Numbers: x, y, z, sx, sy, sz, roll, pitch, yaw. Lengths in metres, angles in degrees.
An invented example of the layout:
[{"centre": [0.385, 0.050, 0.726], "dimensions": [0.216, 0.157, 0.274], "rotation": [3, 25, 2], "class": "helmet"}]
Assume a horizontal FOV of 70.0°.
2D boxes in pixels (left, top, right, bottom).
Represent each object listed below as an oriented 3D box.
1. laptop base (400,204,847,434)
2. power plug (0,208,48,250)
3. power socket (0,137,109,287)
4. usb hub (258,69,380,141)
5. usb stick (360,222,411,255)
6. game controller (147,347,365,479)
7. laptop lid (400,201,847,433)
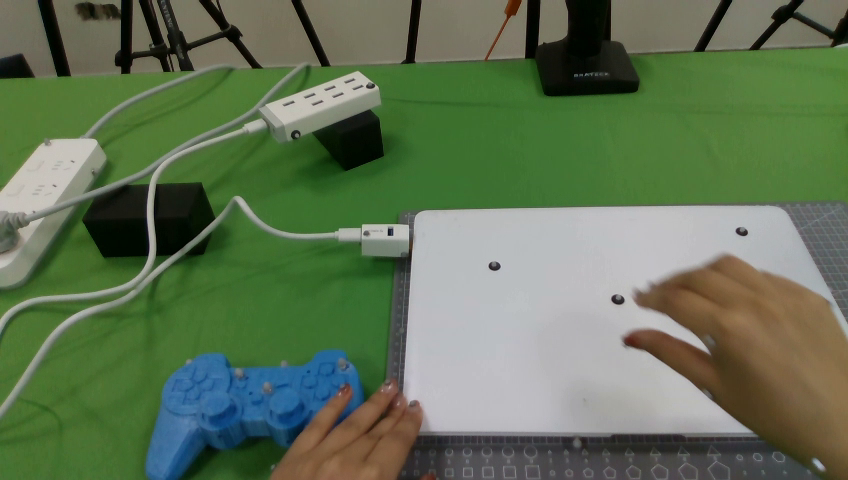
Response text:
[{"centre": [0.162, 0.057, 0.514], "dimensions": [0.354, 0.023, 0.233], "rotation": [-1, 48, 3], "class": "laptop base"}, {"centre": [-0.383, -0.002, 0.563], "dimensions": [0.072, 0.053, 0.035], "rotation": [10, 45, 10], "class": "power plug"}, {"centre": [-0.407, -0.037, 0.634], "dimensions": [0.072, 0.033, 0.224], "rotation": [1, 44, 4], "class": "power socket"}, {"centre": [-0.113, -0.149, 0.665], "dimensions": [0.125, 0.025, 0.049], "rotation": [-28, 51, -22], "class": "usb hub"}, {"centre": [-0.030, -0.002, 0.565], "dimensions": [0.059, 0.027, 0.021], "rotation": [3, 43, -6], "class": "usb stick"}, {"centre": [-0.119, 0.122, 0.446], "dimensions": [0.155, 0.052, 0.096], "rotation": [-1, 41, 2], "class": "game controller"}, {"centre": [0.161, 0.050, 0.504], "dimensions": [0.356, 0.013, 0.239], "rotation": [1, 47, 4], "class": "laptop lid"}]
